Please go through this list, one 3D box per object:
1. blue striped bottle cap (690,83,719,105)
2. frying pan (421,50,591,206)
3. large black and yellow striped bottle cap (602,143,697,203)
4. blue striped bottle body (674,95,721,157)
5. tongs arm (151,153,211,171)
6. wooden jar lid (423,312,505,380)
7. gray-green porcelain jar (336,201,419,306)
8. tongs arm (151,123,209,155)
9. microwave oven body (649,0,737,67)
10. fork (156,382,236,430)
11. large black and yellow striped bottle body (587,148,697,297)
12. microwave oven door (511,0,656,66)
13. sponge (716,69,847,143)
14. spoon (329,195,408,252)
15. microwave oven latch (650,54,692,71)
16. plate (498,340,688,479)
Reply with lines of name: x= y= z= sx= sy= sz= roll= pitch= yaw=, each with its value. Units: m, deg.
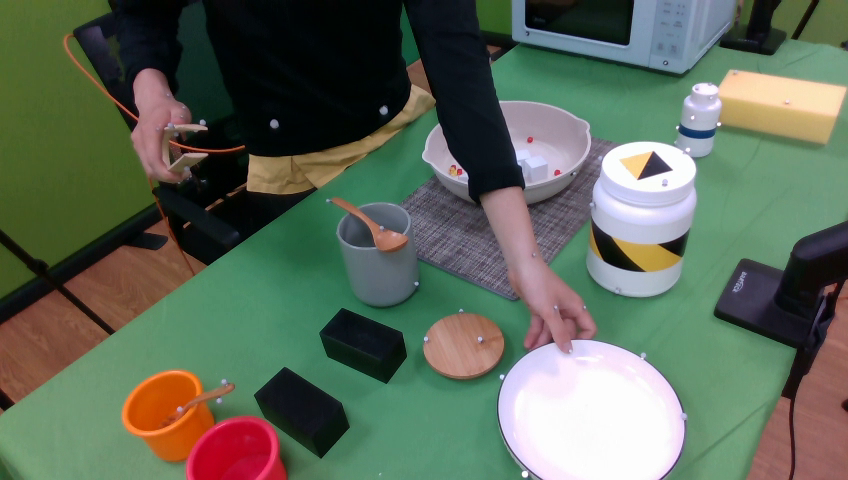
blue striped bottle cap: x=0.481 y=-0.251 z=1.038 sx=0.044 sy=0.021 sz=0.044 roll=-5 pitch=39 yaw=5
frying pan: x=0.127 y=-0.233 z=1.155 sx=0.307 sy=0.103 sz=0.484 roll=-11 pitch=49 yaw=-5
large black and yellow striped bottle cap: x=0.289 y=-0.088 z=0.779 sx=0.115 sy=0.019 sz=0.114 roll=-5 pitch=39 yaw=4
blue striped bottle body: x=0.486 y=-0.213 z=1.072 sx=0.063 sy=0.121 sz=0.063 roll=-4 pitch=41 yaw=4
tongs arm: x=-0.333 y=-0.108 z=0.810 sx=0.028 sy=0.028 sz=0.384 roll=-10 pitch=9 yaw=-28
wooden jar lid: x=0.053 y=0.143 z=0.801 sx=0.108 sy=0.021 sz=0.108 roll=-4 pitch=40 yaw=4
gray-green porcelain jar: x=-0.063 y=0.024 z=0.872 sx=0.106 sy=0.127 sz=0.105 roll=-4 pitch=41 yaw=4
tongs arm: x=-0.333 y=-0.130 z=0.807 sx=0.027 sy=0.051 sz=0.381 roll=-6 pitch=13 yaw=-29
microwave oven body: x=0.475 y=-0.602 z=1.411 sx=0.438 sy=0.261 sz=0.327 roll=23 pitch=50 yaw=32
fork: x=-0.262 y=0.189 z=0.690 sx=0.018 sy=0.206 sz=0.028 roll=49 pitch=43 yaw=-6
large black and yellow striped bottle body: x=0.298 y=-0.026 z=0.835 sx=0.131 sy=0.185 sz=0.130 roll=-4 pitch=41 yaw=4
microwave oven door: x=0.350 y=-0.539 z=1.348 sx=0.353 sy=0.245 sz=0.039 roll=24 pitch=50 yaw=31
sponge: x=0.663 y=-0.256 z=1.142 sx=0.205 sy=0.061 sz=0.118 roll=19 pitch=47 yaw=28
spoon: x=-0.082 y=-0.029 z=0.828 sx=0.042 sy=0.022 sz=0.192 roll=-31 pitch=42 yaw=-21
microwave oven latch: x=0.531 y=-0.386 z=1.301 sx=0.078 sy=0.029 sz=0.030 roll=25 pitch=51 yaw=32
plate: x=0.189 y=0.206 z=0.692 sx=0.207 sy=0.039 sz=0.206 roll=-4 pitch=40 yaw=4
